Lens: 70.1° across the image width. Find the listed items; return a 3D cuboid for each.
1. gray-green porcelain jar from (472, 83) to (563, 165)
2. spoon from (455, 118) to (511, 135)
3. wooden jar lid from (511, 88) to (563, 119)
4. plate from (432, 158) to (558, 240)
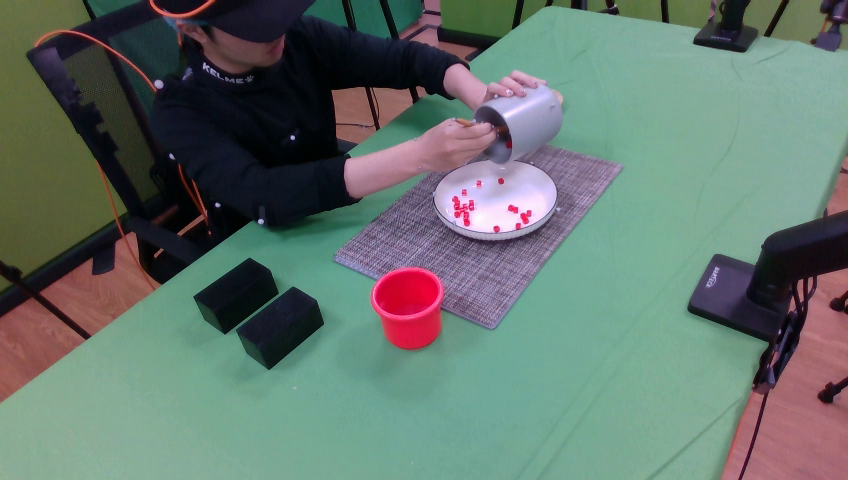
[{"bbox_3d":[0.162,-0.199,1.018,0.127,0.106,0.105,-30,45,-25],"label":"gray-green porcelain jar"},{"bbox_3d":[0.116,-0.178,0.985,0.195,0.021,0.041,-3,26,-47],"label":"spoon"},{"bbox_3d":[0.237,-0.286,1.271,0.108,0.021,0.108,-5,42,5],"label":"wooden jar lid"},{"bbox_3d":[0.118,-0.066,1.012,0.207,0.039,0.206,-4,41,4],"label":"plate"}]
